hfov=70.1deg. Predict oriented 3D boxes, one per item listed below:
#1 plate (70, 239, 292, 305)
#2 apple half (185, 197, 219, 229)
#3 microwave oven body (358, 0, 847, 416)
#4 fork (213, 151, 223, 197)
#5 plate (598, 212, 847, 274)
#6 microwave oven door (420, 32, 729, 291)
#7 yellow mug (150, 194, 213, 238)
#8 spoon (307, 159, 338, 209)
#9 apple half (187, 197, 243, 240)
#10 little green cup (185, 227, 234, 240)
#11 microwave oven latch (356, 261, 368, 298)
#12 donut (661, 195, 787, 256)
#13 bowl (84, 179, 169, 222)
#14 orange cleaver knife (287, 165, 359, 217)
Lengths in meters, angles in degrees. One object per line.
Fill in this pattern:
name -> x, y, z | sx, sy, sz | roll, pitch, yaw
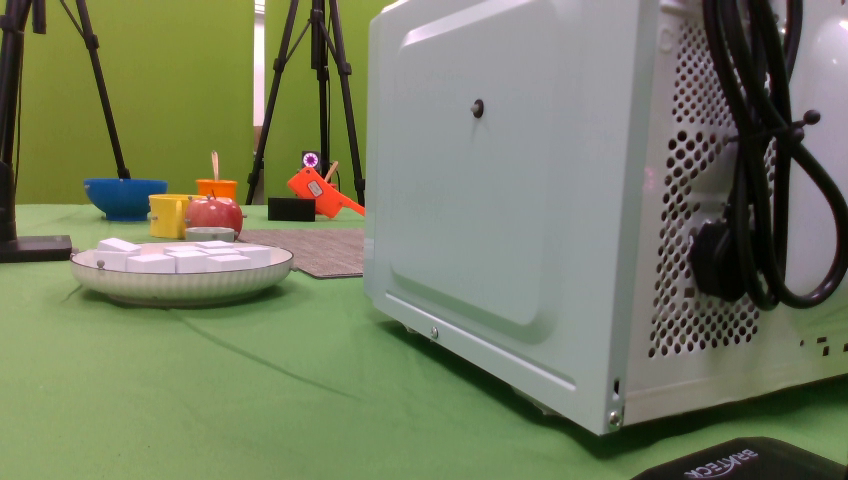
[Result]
plate -> -0.242, 0.031, 0.618 | 0.208, 0.039, 0.207 | 2, 8, 0
apple half -> -0.338, -0.031, 0.927 | 0.032, 0.081, 0.081 | 12, 12, 31
microwave oven body -> 0.211, -0.047, 0.474 | 0.444, 0.260, 0.324 | -1, 8, -28
fork -> -0.493, -0.143, 1.442 | 0.028, 0.018, 0.206 | -3, 53, -18
plate -> 0.255, 0.000, 0.518 | 0.209, 0.038, 0.209 | 2, 6, 0
microwave oven door -> 0.172, -0.075, 0.640 | 0.357, 0.243, 0.039 | -1, 8, -21
yellow mug -> -0.401, -0.040, 1.003 | 0.100, 0.064, 0.130 | -1, 9, -20
spoon -> -0.257, -0.147, 1.567 | 0.041, 0.022, 0.193 | 2, 51, 19
apple half -> -0.305, -0.026, 0.907 | 0.053, 0.074, 0.081 | 12, 8, 31
little green cup -> -0.285, 0.005, 0.805 | 0.061, 0.038, 0.061 | 2, 8, 0
microwave oven latch -> -0.020, 0.033, 0.530 | 0.079, 0.029, 0.030 | 0, 7, -26
donut -> 0.254, -0.012, 0.516 | 0.099, 0.048, 0.099 | 4, 9, 0
bowl -> -0.584, -0.078, 1.194 | 0.151, 0.077, 0.151 | 3, 8, 0
orange cleaver knife -> -0.211, -0.092, 1.382 | 0.212, 0.077, 0.012 | 34, 1, -15
